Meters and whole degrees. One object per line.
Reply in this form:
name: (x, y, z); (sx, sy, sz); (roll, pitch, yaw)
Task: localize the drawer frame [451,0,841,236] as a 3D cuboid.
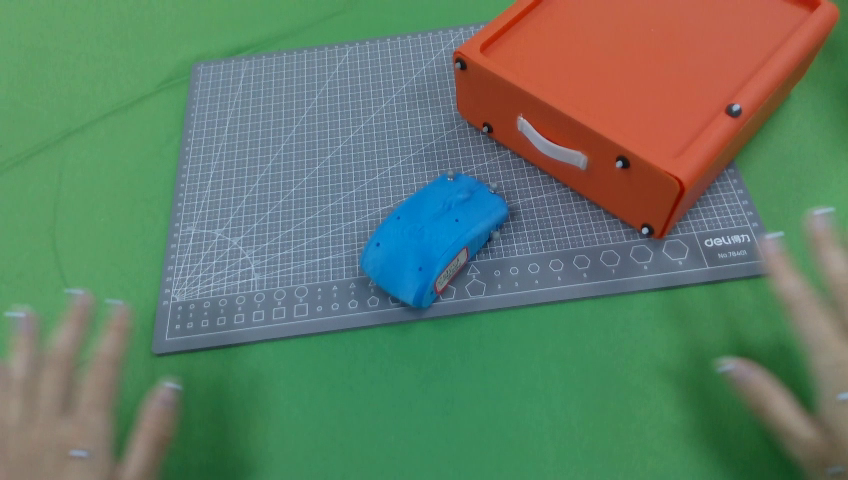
drawer frame: (0.165, -0.141, 0.477); (0.200, 0.083, 0.213); (37, 69, 24)

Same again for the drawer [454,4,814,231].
drawer: (0.164, -0.139, 0.477); (0.193, 0.074, 0.211); (38, 69, 25)

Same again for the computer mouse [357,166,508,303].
computer mouse: (0.007, -0.010, 0.443); (0.062, 0.041, 0.117); (34, 64, 25)
